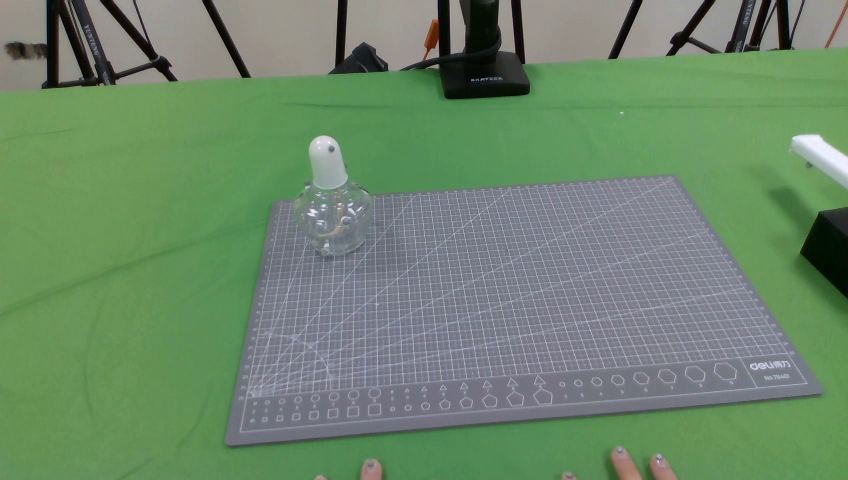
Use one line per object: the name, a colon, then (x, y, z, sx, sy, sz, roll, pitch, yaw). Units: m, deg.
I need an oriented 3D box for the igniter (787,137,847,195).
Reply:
igniter: (0.419, -0.024, 0.535, 0.057, 0.025, 0.273, -5, 35, -5)

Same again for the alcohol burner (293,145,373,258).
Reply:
alcohol burner: (-0.088, -0.041, 0.573, 0.078, 0.120, 0.077, 0, 41, 0)

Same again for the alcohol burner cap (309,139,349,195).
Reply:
alcohol burner cap: (-0.088, -0.069, 0.550, 0.034, 0.048, 0.033, -2, 42, 2)
